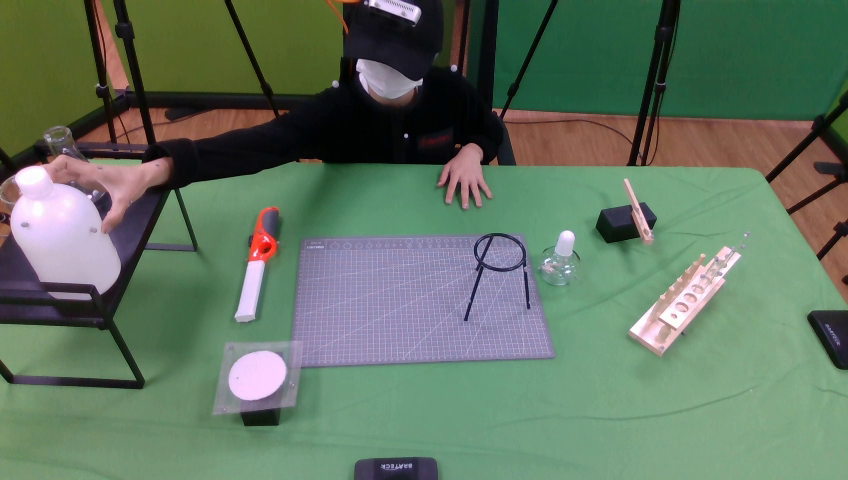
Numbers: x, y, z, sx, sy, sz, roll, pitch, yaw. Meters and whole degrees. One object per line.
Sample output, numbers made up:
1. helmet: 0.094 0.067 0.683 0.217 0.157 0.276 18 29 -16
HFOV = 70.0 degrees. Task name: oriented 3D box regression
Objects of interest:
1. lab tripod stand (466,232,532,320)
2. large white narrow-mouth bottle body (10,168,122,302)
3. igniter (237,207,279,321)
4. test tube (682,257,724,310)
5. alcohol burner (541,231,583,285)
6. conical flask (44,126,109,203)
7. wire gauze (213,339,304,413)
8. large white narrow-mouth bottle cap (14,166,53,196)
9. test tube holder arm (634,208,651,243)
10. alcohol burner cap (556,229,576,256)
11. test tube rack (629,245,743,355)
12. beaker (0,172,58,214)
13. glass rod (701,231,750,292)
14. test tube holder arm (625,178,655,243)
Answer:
1. lab tripod stand: 0.125 0.059 1.065 0.148 0.132 0.147 1 45 0
2. large white narrow-mouth bottle body: -0.481 -0.012 0.804 0.102 0.195 0.101 2 46 -2
3. igniter: -0.309 0.036 1.136 0.057 0.025 0.274 -7 45 4
4. test tube: 0.475 0.080 1.037 0.017 0.151 0.017 2 51 -2
5. alcohol burner: 0.258 0.028 1.123 0.078 0.120 0.077 1 48 -1
6. conical flask: -0.554 -0.119 0.954 0.075 0.122 0.075 2 46 -2
7. wire gauze: -0.250 0.203 0.925 0.121 0.011 0.124 -1 46 -3
8. large white narrow-mouth bottle cap: -0.477 -0.072 0.741 0.038 0.024 0.037 2 46 -2
9. test tube holder arm: 0.428 -0.030 1.189 0.010 0.015 0.087 1 47 -2
10. alcohol burner cap: 0.260 0.002 1.098 0.034 0.048 0.033 3 40 -2
11. test tube rack: 0.474 0.095 1.091 0.242 0.085 0.066 -34 56 -31
12. beaker: -0.562 -0.042 0.894 0.084 0.101 0.073 -2 46 -7
13. glass rod: 0.519 0.045 1.050 0.008 0.201 0.008 0 55 0
14. test tube holder arm: 0.433 -0.062 1.220 0.013 0.015 0.177 1 47 -3
